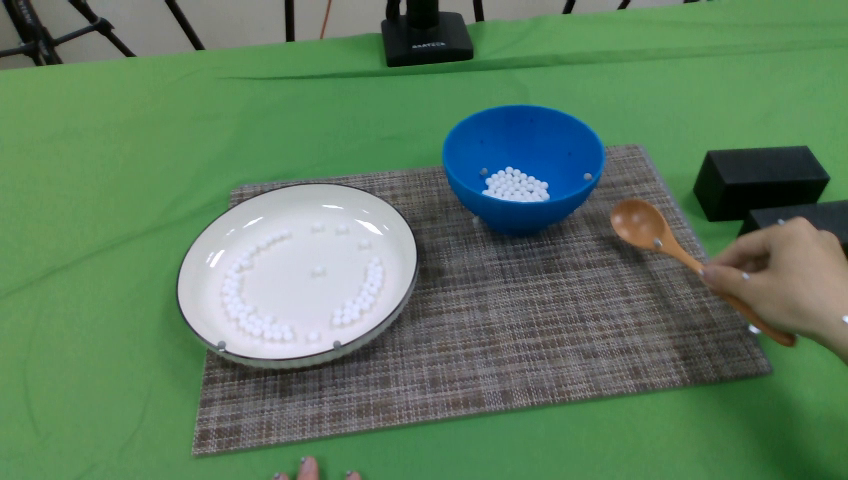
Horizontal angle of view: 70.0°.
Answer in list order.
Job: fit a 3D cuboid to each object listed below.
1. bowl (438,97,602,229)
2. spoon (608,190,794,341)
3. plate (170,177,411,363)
[{"bbox_3d":[0.089,-0.064,0.586,0.151,0.077,0.150,-1,47,1],"label":"bowl"},{"bbox_3d":[0.226,0.018,0.511,0.041,0.022,0.191,-45,45,8],"label":"spoon"},{"bbox_3d":[-0.114,0.025,0.541,0.207,0.039,0.205,-1,47,1],"label":"plate"}]
